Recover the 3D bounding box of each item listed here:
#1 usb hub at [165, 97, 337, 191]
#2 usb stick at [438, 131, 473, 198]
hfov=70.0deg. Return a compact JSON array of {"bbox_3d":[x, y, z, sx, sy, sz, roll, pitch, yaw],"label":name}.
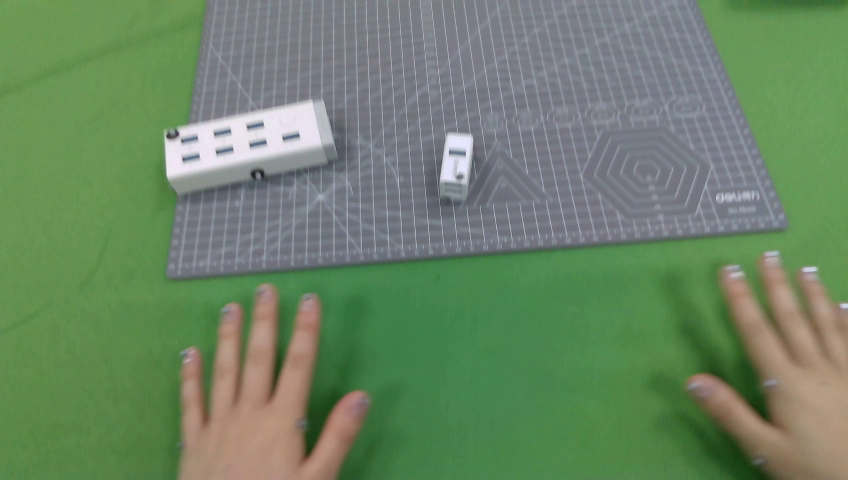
[{"bbox_3d":[-0.134,-0.076,0.472,0.125,0.025,0.049,-13,62,-5],"label":"usb hub"},{"bbox_3d":[0.025,-0.063,0.459,0.021,0.027,0.058,6,59,8],"label":"usb stick"}]
